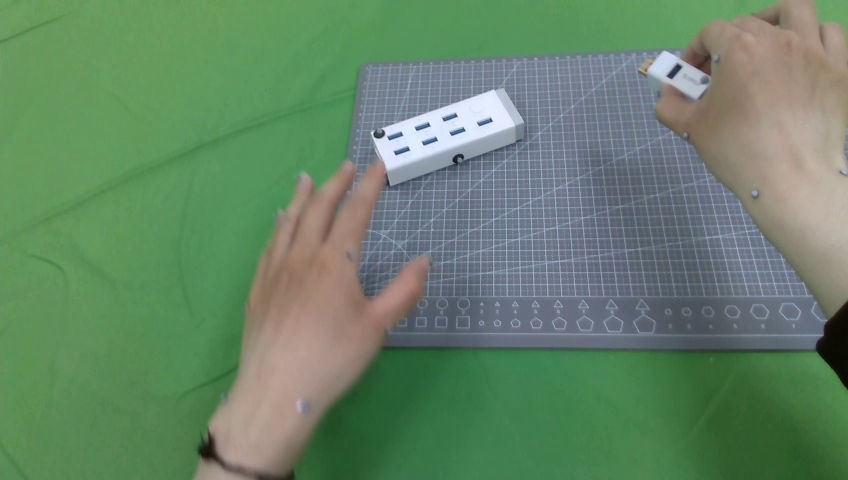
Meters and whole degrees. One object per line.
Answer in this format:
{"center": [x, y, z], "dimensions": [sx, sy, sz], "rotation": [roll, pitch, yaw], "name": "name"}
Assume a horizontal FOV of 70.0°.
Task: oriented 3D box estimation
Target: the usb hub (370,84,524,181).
{"center": [0.019, -0.094, 0.522], "dimensions": [0.125, 0.025, 0.049], "rotation": [-19, 58, -6], "name": "usb hub"}

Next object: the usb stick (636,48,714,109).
{"center": [0.183, -0.123, 0.449], "dimensions": [0.021, 0.027, 0.058], "rotation": [-51, 58, 5], "name": "usb stick"}
